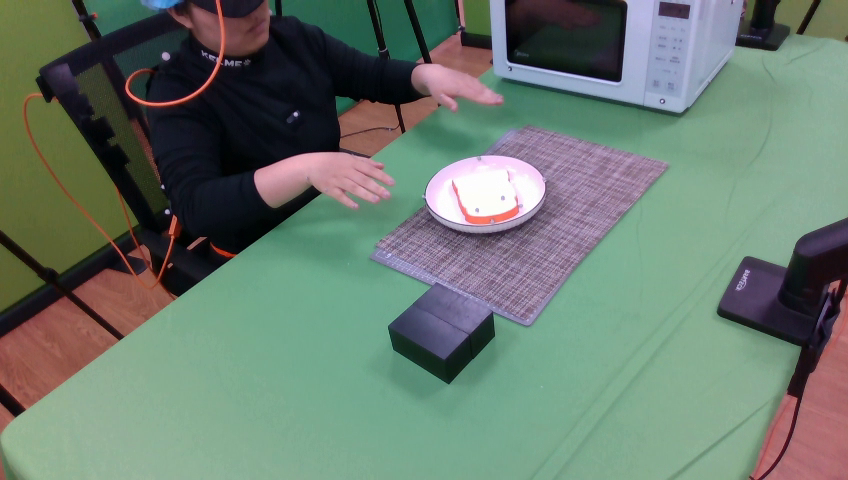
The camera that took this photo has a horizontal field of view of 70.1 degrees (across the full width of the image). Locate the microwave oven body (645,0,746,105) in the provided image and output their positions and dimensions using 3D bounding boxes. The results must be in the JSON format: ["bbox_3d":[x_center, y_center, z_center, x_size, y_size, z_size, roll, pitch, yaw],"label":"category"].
[{"bbox_3d":[0.417,-0.486,1.290,0.438,0.261,0.327,22,50,33],"label":"microwave oven body"}]

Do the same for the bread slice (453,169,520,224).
[{"bbox_3d":[0.112,-0.076,1.040,0.105,0.019,0.130,-11,40,-1],"label":"bread slice"}]

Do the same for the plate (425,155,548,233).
[{"bbox_3d":[0.108,-0.076,1.038,0.209,0.038,0.208,-5,39,5],"label":"plate"}]

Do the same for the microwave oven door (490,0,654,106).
[{"bbox_3d":[0.293,-0.420,1.228,0.353,0.245,0.039,22,49,32],"label":"microwave oven door"}]

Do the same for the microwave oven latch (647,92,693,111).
[{"bbox_3d":[0.477,-0.273,1.177,0.078,0.029,0.030,22,50,33],"label":"microwave oven latch"}]
